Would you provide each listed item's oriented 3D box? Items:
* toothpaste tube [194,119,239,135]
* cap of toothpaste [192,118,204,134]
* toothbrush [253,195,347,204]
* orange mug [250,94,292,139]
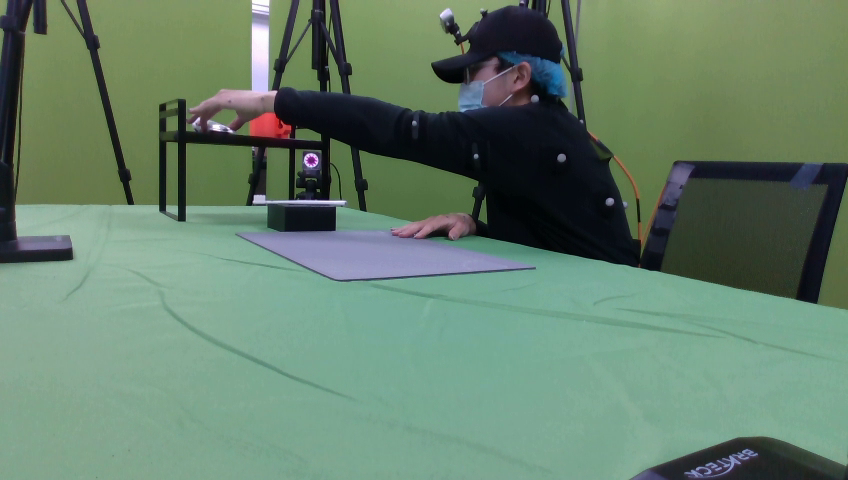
[{"bbox_3d":[-0.451,-0.239,1.289,0.055,0.034,0.164,-7,16,-38],"label":"toothpaste tube"},{"bbox_3d":[-0.498,-0.255,1.350,0.037,0.037,0.011,-4,14,-38],"label":"cap of toothpaste"},{"bbox_3d":[-0.234,-0.076,1.154,0.183,0.016,0.014,-1,5,-27],"label":"toothbrush"},{"bbox_3d":[-0.339,-0.279,1.364,0.125,0.100,0.084,4,6,45],"label":"orange mug"}]
